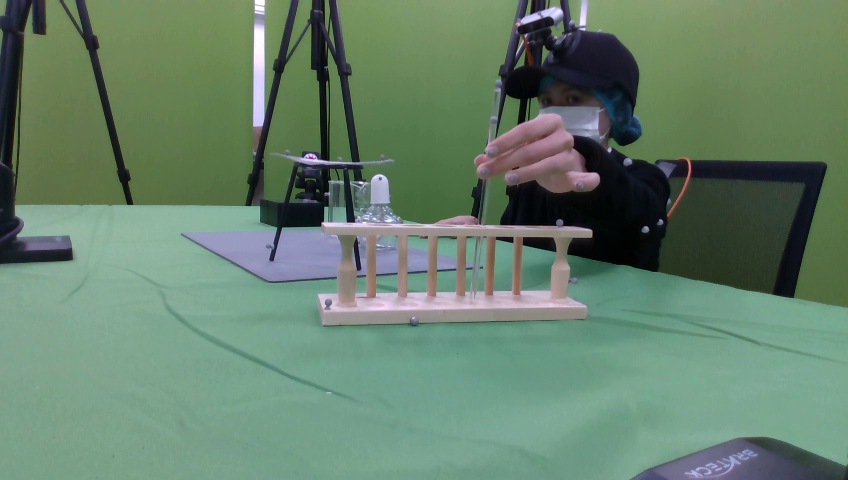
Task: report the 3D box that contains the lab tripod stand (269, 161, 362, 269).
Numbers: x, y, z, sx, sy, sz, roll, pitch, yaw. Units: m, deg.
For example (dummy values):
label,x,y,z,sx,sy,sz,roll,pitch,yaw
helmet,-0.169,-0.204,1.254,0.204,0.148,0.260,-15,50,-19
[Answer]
label,x,y,z,sx,sy,sz,roll,pitch,yaw
lab tripod stand,-0.125,-0.036,0.794,0.148,0.131,0.148,5,7,0

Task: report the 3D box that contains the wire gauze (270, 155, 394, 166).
label,x,y,z,sx,sy,sz,roll,pitch,yaw
wire gauze,-0.122,-0.102,0.785,0.122,0.011,0.124,-3,10,-39

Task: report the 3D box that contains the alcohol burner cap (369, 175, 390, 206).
label,x,y,z,sx,sy,sz,roll,pitch,yaw
alcohol burner cap,-0.069,-0.077,0.939,0.034,0.048,0.034,-1,6,0

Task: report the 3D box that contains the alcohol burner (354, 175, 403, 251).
label,x,y,z,sx,sy,sz,roll,pitch,yaw
alcohol burner,-0.072,-0.042,0.944,0.078,0.119,0.078,1,9,0

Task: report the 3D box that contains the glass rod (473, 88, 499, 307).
label,x,y,z,sx,sy,sz,roll,pitch,yaw
glass rod,0.055,-0.036,0.542,0.008,0.199,0.008,5,3,0

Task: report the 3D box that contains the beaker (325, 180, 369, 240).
label,x,y,z,sx,sy,sz,roll,pitch,yaw
beaker,-0.133,-0.052,1.058,0.074,0.100,0.083,-3,10,-36

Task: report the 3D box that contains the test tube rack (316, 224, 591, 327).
label,x,y,z,sx,sy,sz,roll,pitch,yaw
test tube rack,0.026,0.029,0.555,0.243,0.085,0.066,1,6,-14
